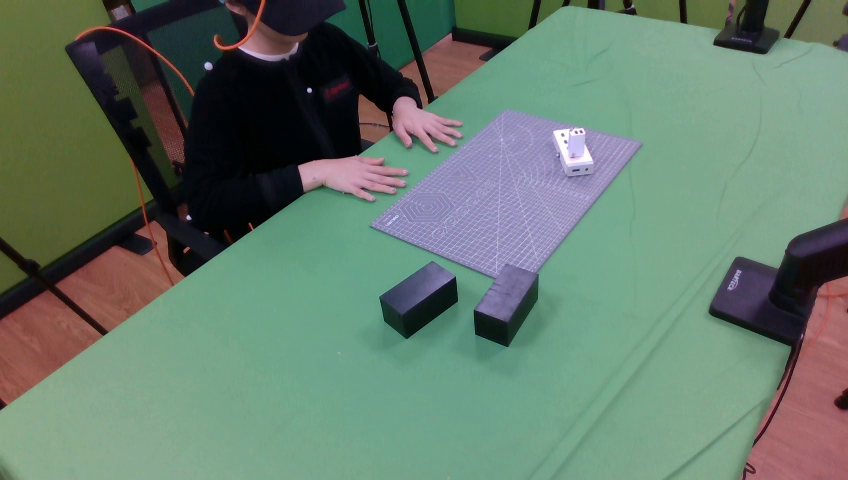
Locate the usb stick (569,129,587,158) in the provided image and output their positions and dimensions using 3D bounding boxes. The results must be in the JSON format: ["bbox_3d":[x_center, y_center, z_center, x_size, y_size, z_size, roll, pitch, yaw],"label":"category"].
[{"bbox_3d":[0.273,-0.166,1.075,0.027,0.059,0.021,-5,40,-2],"label":"usb stick"}]

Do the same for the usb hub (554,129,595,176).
[{"bbox_3d":[0.278,-0.163,1.119,0.049,0.025,0.124,-6,41,2],"label":"usb hub"}]
